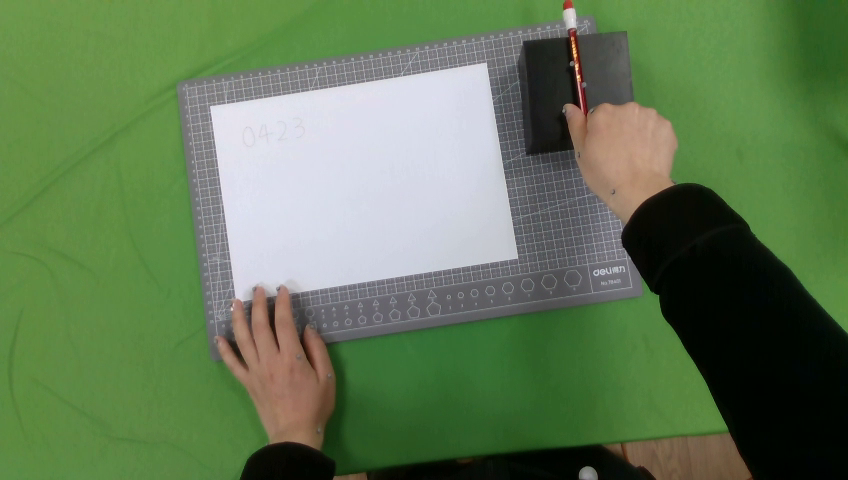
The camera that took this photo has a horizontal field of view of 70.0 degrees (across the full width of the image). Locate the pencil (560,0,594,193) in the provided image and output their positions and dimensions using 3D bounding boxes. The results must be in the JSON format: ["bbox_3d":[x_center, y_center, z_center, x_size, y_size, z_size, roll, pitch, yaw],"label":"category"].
[{"bbox_3d":[0.148,-0.139,0.579,0.012,0.012,0.193,-7,84,2],"label":"pencil"}]
